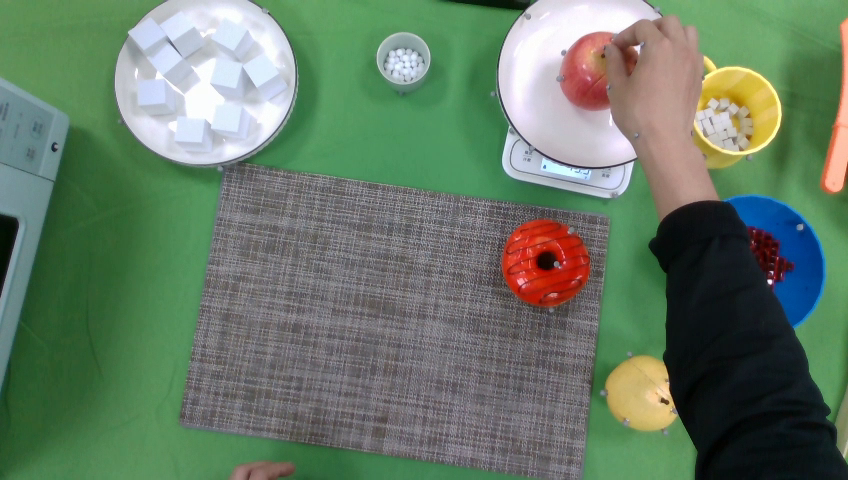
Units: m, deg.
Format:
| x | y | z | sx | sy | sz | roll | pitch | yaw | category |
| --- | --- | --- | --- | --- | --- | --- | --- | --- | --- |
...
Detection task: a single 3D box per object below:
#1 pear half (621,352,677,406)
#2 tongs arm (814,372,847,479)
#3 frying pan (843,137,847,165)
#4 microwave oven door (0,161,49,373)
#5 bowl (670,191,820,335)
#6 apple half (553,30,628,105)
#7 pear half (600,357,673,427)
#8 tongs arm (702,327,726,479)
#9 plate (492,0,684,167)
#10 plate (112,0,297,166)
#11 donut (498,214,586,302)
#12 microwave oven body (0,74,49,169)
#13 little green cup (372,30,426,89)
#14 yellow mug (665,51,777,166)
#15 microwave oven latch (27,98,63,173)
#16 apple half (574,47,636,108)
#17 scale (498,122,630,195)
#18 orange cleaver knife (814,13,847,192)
| x | y | z | sx | sy | sz | roll | pitch | yaw | category |
| --- | --- | --- | --- | --- | --- | --- | --- | --- | --- |
| 0.245 | 0.141 | 0.643 | 0.070 | 0.088 | 0.031 | 39 | 86 | 7 | pear half |
| 0.410 | 0.307 | 0.658 | 0.028 | 0.028 | 0.387 | 23 | 86 | -4 | tongs arm |
| 0.635 | -0.043 | 0.656 | 0.307 | 0.103 | 0.485 | -18 | 77 | -1 | frying pan |
| -0.471 | 0.086 | 0.550 | 0.039 | 0.244 | 0.355 | 11 | 84 | 2 | microwave oven door |
| 0.334 | 0.027 | 0.661 | 0.151 | 0.077 | 0.151 | 0 | 85 | 0 | bowl |
| 0.170 | -0.189 | 0.646 | 0.081 | 0.075 | 0.053 | -41 | 83 | -2 | apple half |
| 0.220 | 0.166 | 0.631 | 0.076 | 0.110 | 0.056 | 40 | 85 | 8 | pear half |
| 0.325 | 0.288 | 0.657 | 0.051 | 0.026 | 0.384 | 8 | 86 | -2 | tongs arm |
| 0.178 | -0.180 | 0.671 | 0.209 | 0.038 | 0.208 | 0 | 84 | -1 | plate |
| -0.248 | -0.185 | 0.699 | 0.208 | 0.039 | 0.207 | 0 | 84 | 0 | plate |
| 0.130 | 0.020 | 0.674 | 0.099 | 0.048 | 0.099 | 0 | 84 | 3 | donut |
| -0.607 | 0.017 | 0.562 | 0.326 | 0.260 | 0.440 | 11 | 85 | 0 | microwave oven body |
| -0.027 | -0.207 | 0.703 | 0.061 | 0.039 | 0.061 | 0 | 84 | 0 | little green cup |
| 0.325 | -0.154 | 0.685 | 0.100 | 0.064 | 0.130 | -24 | 84 | -2 | yellow mug |
| -0.427 | -0.117 | 0.673 | 0.030 | 0.029 | 0.079 | 13 | 85 | 1 | microwave oven latch |
| 0.197 | -0.162 | 0.642 | 0.081 | 0.081 | 0.032 | -42 | 84 | -4 | apple half |
| 0.176 | -0.161 | 0.702 | 0.148 | 0.031 | 0.200 | 13 | 85 | 1 | scale |
| 0.466 | -0.150 | 0.648 | 0.077 | 0.012 | 0.211 | 13 | 85 | 4 | orange cleaver knife |
